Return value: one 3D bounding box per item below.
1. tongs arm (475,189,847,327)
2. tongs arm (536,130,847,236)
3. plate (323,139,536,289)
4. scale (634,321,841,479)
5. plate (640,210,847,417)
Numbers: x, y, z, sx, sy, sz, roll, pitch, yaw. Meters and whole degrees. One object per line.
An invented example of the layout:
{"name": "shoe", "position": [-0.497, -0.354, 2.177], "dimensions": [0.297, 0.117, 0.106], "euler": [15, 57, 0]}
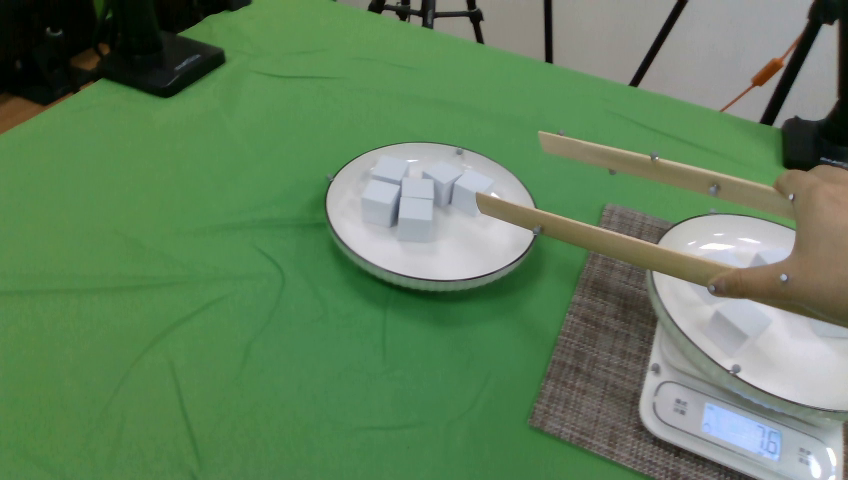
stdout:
{"name": "tongs arm", "position": [0.189, 0.013, 0.411], "dimensions": [0.384, 0.028, 0.028], "euler": [19, 51, 39]}
{"name": "tongs arm", "position": [0.223, -0.021, 0.431], "dimensions": [0.381, 0.027, 0.050], "euler": [24, 58, 41]}
{"name": "plate", "position": [0.006, -0.026, 0.597], "dimensions": [0.209, 0.038, 0.207], "euler": [5, 44, -4]}
{"name": "scale", "position": [0.265, 0.099, 0.506], "dimensions": [0.148, 0.032, 0.200], "euler": [21, 46, 14]}
{"name": "plate", "position": [0.280, 0.058, 0.503], "dimensions": [0.208, 0.039, 0.205], "euler": [5, 45, -4]}
